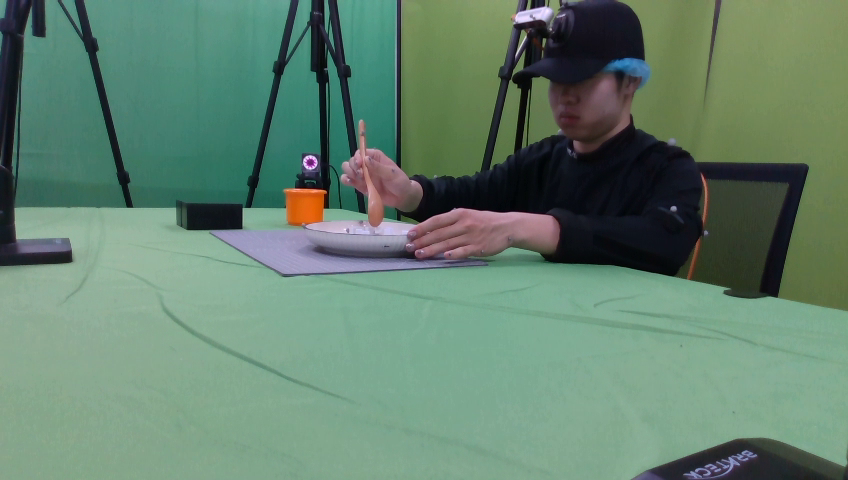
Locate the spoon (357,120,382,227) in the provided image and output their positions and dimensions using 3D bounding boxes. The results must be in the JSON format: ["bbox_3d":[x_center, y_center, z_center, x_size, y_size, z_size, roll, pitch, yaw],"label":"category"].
[{"bbox_3d":[-0.091,-0.110,0.960,0.021,0.193,0.042,-24,-25,23],"label":"spoon"}]

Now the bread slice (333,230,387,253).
[{"bbox_3d":[-0.088,0.001,0.947,0.105,0.019,0.131,-4,11,-45],"label":"bread slice"}]

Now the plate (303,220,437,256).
[{"bbox_3d":[-0.084,-0.003,0.951,0.209,0.038,0.209,3,7,0],"label":"plate"}]
